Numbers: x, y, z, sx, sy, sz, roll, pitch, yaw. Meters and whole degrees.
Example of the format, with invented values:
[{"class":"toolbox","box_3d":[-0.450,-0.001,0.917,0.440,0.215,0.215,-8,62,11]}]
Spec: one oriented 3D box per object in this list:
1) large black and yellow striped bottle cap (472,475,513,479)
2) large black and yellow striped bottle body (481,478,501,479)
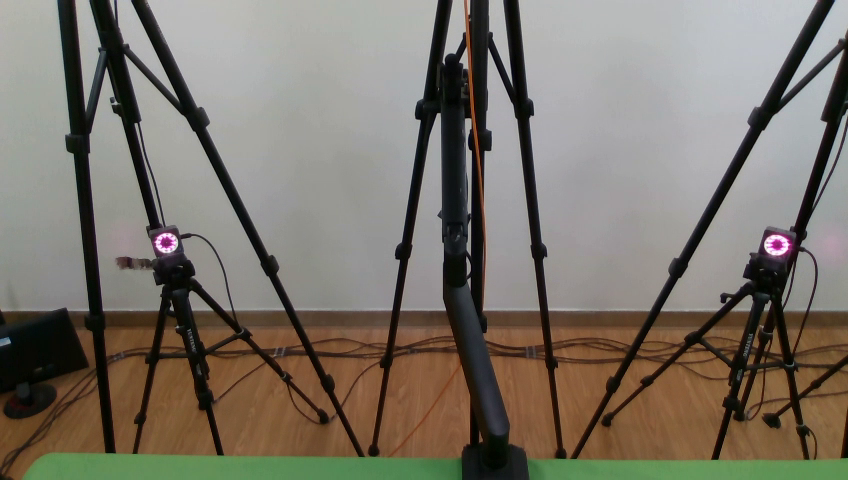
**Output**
[{"class":"large black and yellow striped bottle cap","box_3d":[0.097,0.375,0.831,0.115,0.019,0.114,-1,32,1]},{"class":"large black and yellow striped bottle body","box_3d":[0.098,0.448,0.875,0.131,0.185,0.129,-1,31,1]}]
